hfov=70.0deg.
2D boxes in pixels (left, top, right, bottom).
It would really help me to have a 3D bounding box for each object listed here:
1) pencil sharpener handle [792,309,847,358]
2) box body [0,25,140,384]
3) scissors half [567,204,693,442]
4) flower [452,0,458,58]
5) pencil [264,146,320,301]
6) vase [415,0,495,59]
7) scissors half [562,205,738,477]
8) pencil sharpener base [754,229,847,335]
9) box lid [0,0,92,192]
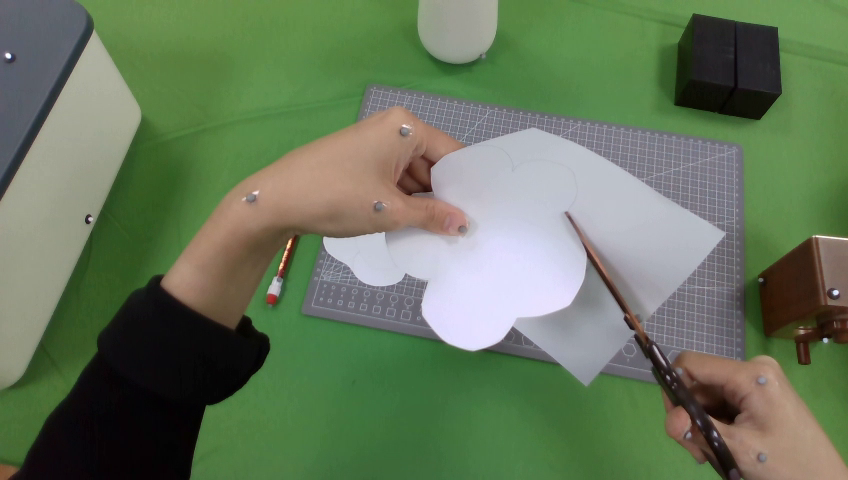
[{"bbox_3d":[0.366,0.087,0.553,0.036,0.068,0.030,11,67,-10],"label":"pencil sharpener handle"},{"bbox_3d":[-0.476,-0.059,0.591,0.254,0.161,0.361,10,67,4],"label":"box body"},{"bbox_3d":[0.125,0.051,0.359,0.013,0.039,0.176,-31,109,8],"label":"scissors half"},{"bbox_3d":[0.032,-0.346,0.609,0.044,0.365,0.038,3,49,5],"label":"flower"},{"bbox_3d":[-0.141,-0.024,0.664,0.012,0.012,0.193,11,66,5],"label":"pencil"},{"bbox_3d":[0.037,-0.300,0.680,0.098,0.201,0.097,0,65,1],"label":"vase"},{"bbox_3d":[0.124,0.055,0.337,0.013,0.040,0.175,-31,85,3],"label":"scissors half"},{"bbox_3d":[0.376,0.046,0.585,0.061,0.108,0.076,6,67,2],"label":"pencil sharpener base"},{"bbox_3d":[-0.476,-0.091,0.523,0.263,0.015,0.369,11,67,4],"label":"box lid"}]
